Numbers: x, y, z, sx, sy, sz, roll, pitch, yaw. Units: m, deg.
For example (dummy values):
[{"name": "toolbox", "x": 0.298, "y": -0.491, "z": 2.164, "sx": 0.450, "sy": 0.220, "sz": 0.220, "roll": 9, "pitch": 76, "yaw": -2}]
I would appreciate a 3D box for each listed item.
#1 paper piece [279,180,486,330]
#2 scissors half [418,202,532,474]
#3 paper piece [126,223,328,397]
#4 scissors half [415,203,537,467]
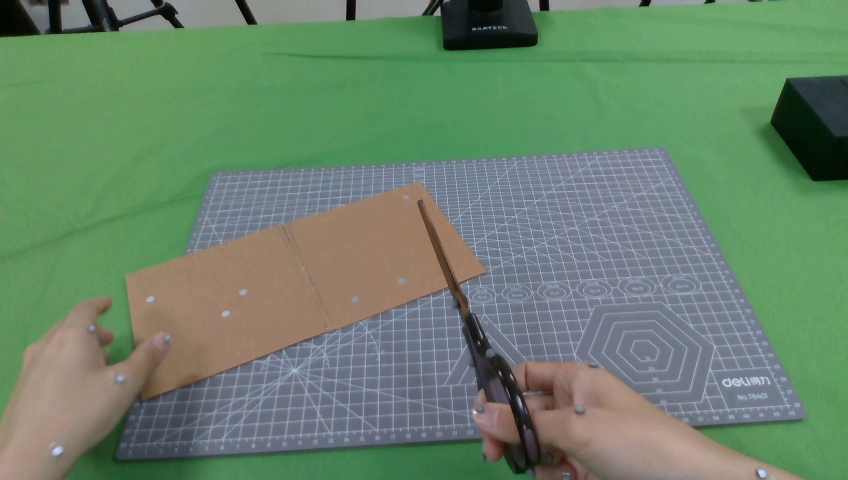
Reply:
[{"name": "paper piece", "x": -0.039, "y": 0.005, "z": 0.516, "sx": 0.138, "sy": 0.009, "sz": 0.134, "roll": -18, "pitch": 50, "yaw": -17}, {"name": "scissors half", "x": 0.025, "y": 0.053, "z": 0.365, "sx": 0.013, "sy": 0.040, "sz": 0.174, "roll": -17, "pitch": 72, "yaw": -11}, {"name": "paper piece", "x": -0.160, "y": 0.047, "z": 0.478, "sx": 0.136, "sy": 0.004, "sz": 0.134, "roll": -19, "pitch": 46, "yaw": -16}, {"name": "scissors half", "x": 0.024, "y": 0.044, "z": 0.347, "sx": 0.013, "sy": 0.040, "sz": 0.173, "roll": -20, "pitch": 56, "yaw": -6}]
